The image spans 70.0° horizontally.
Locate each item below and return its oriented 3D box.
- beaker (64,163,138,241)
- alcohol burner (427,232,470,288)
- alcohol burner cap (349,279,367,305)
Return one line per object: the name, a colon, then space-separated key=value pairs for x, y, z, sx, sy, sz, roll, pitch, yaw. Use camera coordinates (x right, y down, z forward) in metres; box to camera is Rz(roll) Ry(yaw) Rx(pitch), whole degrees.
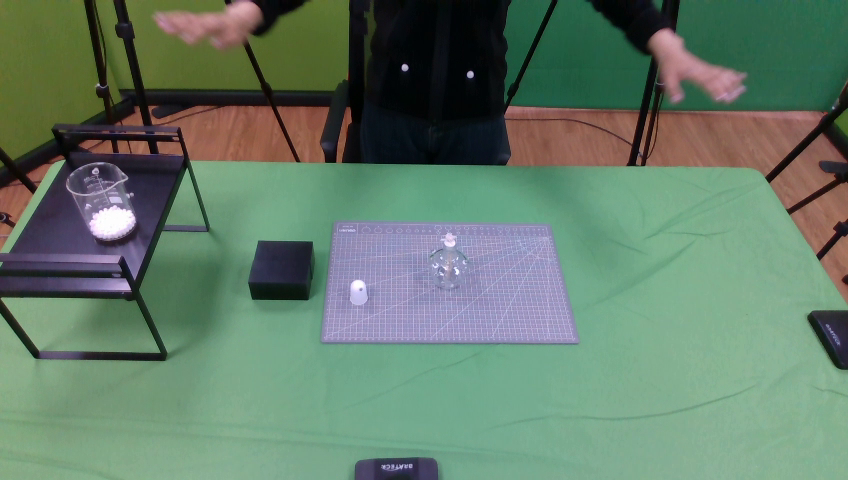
beaker: x=-0.477 y=-0.055 z=0.910 sx=0.084 sy=0.101 sz=0.073 roll=-9 pitch=48 yaw=-13
alcohol burner: x=0.045 y=0.032 z=1.099 sx=0.078 sy=0.120 sz=0.077 roll=0 pitch=46 yaw=0
alcohol burner cap: x=-0.118 y=0.090 z=1.082 sx=0.034 sy=0.048 sz=0.033 roll=1 pitch=47 yaw=-1
